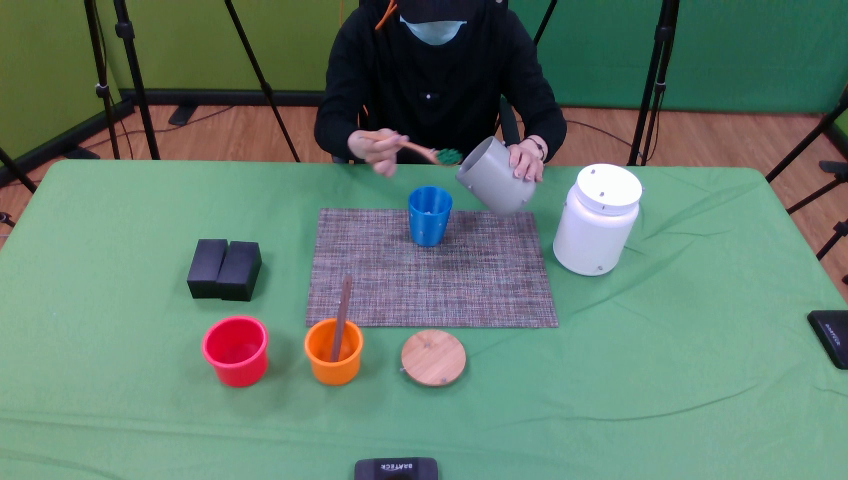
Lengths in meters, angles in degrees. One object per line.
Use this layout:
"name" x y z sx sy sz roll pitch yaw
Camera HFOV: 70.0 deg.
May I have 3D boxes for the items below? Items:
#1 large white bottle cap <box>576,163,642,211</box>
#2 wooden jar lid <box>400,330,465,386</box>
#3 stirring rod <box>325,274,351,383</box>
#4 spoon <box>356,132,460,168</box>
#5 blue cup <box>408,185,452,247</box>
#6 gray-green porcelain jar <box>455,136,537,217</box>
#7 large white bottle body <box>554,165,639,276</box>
"large white bottle cap" 0.330 -0.096 1.080 0.115 0.018 0.114 2 46 -2
"wooden jar lid" 0.015 0.198 1.008 0.108 0.021 0.107 2 47 -2
"stirring rod" -0.137 0.142 0.971 0.014 0.006 0.176 9 89 0
"spoon" -0.029 -0.169 1.104 0.194 0.022 0.041 18 53 -4
"blue cup" 0.008 -0.042 1.177 0.093 0.101 0.092 3 47 -3
"gray-green porcelain jar" 0.139 -0.114 1.131 0.127 0.106 0.105 41 47 -13
"large white bottle body" 0.326 -0.037 1.141 0.131 0.185 0.130 2 46 -2
